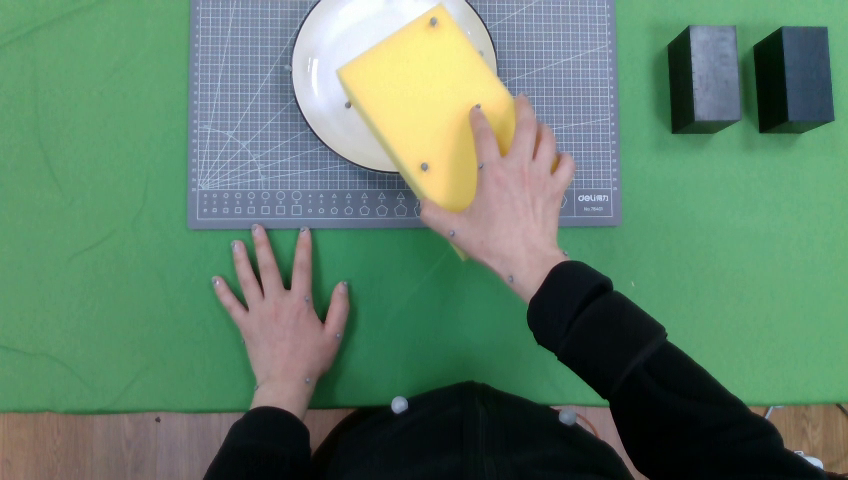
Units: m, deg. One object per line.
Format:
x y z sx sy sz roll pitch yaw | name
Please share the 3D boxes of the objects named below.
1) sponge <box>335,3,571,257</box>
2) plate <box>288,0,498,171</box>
0.025 -0.102 0.570 0.118 0.061 0.206 -36 80 -4 | sponge
-0.030 -0.170 0.621 0.209 0.038 0.208 0 86 -4 | plate
